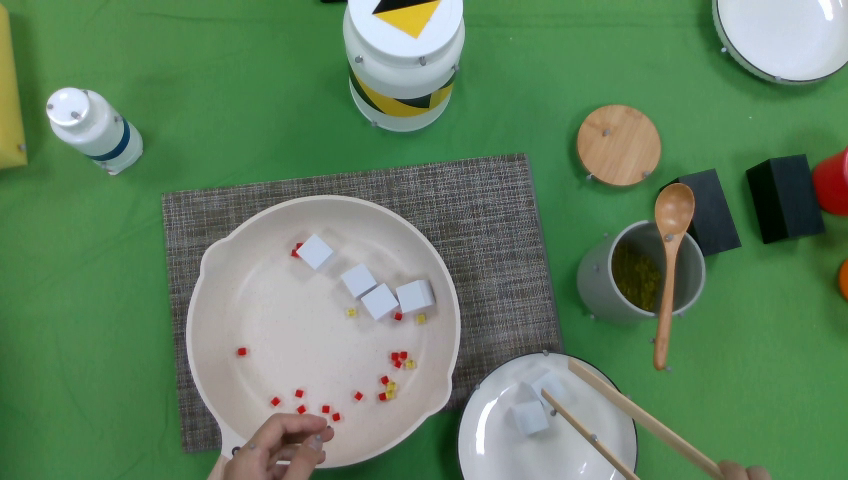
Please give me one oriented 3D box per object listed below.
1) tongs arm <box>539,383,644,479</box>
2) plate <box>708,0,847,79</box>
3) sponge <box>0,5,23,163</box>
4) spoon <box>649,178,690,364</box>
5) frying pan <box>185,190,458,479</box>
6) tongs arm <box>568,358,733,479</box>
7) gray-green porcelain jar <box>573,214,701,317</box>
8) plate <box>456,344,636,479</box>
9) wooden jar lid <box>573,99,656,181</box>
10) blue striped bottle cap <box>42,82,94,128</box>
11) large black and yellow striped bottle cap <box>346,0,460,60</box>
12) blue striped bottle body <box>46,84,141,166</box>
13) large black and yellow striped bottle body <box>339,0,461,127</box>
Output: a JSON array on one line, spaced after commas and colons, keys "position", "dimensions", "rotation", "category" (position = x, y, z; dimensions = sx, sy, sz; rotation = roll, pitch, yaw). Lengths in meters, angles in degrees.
[{"position": [0.255, 0.250, 0.541], "dimensions": [0.051, 0.027, 0.380], "rotation": [-33, 51, -19], "category": "tongs arm"}, {"position": [0.481, -0.312, 0.819], "dimensions": [0.209, 0.038, 0.208], "rotation": [1, 80, -4], "category": "plate"}, {"position": [-0.554, -0.188, 0.700], "dimensions": [0.118, 0.061, 0.206], "rotation": [-13, 83, -7], "category": "sponge"}, {"position": [0.248, 0.032, 0.627], "dimensions": [0.042, 0.021, 0.193], "rotation": [8, 84, -5], "category": "spoon"}, {"position": [-0.164, 0.175, 0.648], "dimensions": [0.306, 0.103, 0.486], "rotation": [33, 71, 2], "category": "frying pan"}, {"position": [0.276, 0.235, 0.550], "dimensions": [0.028, 0.028, 0.383], "rotation": [-33, 51, -23], "category": "tongs arm"}, {"position": [0.236, 0.034, 0.697], "dimensions": [0.106, 0.127, 0.105], "rotation": [1, 80, -4], "category": "gray-green porcelain jar"}, {"position": [0.138, 0.225, 0.700], "dimensions": [0.208, 0.039, 0.207], "rotation": [1, 82, -5], "category": "plate"}, {"position": [0.243, -0.127, 0.778], "dimensions": [0.108, 0.021, 0.108], "rotation": [1, 82, -4], "category": "wooden jar lid"}, {"position": [-0.368, -0.140, 0.626], "dimensions": [0.044, 0.020, 0.044], "rotation": [1, 82, -5], "category": "blue striped bottle cap"}, {"position": [-0.021, -0.237, 0.606], "dimensions": [0.115, 0.019, 0.114], "rotation": [1, 82, -5], "category": "large black and yellow striped bottle cap"}, {"position": [-0.370, -0.130, 0.675], "dimensions": [0.063, 0.121, 0.063], "rotation": [1, 80, -4], "category": "blue striped bottle body"}, {"position": [-0.028, -0.221, 0.688], "dimensions": [0.131, 0.184, 0.130], "rotation": [1, 80, -4], "category": "large black and yellow striped bottle body"}]
